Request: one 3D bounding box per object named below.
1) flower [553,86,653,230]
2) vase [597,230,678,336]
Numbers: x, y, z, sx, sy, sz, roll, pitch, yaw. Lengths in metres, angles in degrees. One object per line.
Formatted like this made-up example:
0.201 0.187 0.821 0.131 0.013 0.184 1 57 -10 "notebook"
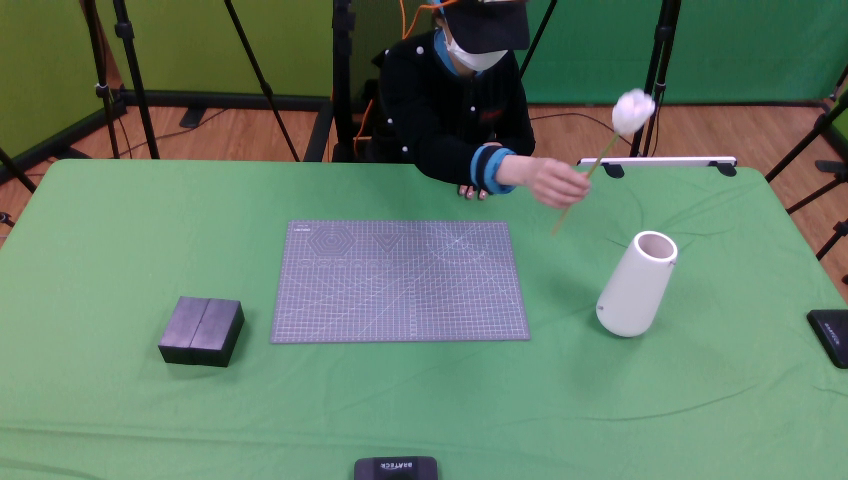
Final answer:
0.249 -0.100 0.912 0.044 0.363 0.038 5 63 -3 "flower"
0.360 0.077 1.026 0.098 0.201 0.097 1 47 -1 "vase"
